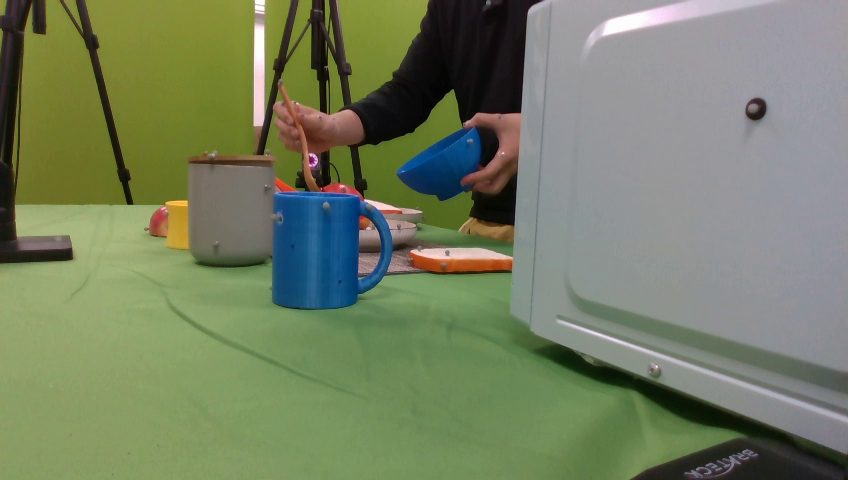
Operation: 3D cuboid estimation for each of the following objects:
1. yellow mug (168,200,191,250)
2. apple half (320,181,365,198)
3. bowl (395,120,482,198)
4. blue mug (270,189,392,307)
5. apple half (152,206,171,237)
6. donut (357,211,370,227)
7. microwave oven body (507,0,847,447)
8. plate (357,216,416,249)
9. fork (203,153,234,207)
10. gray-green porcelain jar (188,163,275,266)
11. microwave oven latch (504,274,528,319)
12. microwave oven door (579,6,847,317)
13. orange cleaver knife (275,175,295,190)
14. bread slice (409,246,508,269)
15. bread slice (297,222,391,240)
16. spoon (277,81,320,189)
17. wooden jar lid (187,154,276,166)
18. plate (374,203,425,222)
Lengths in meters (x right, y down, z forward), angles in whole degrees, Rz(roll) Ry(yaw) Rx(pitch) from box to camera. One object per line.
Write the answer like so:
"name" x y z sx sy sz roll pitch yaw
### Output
"yellow mug" -0.319 -0.023 0.904 0.130 0.064 0.100 8 10 36
"apple half" -0.130 -0.077 0.953 0.081 0.033 0.081 5 13 -1
"bowl" 0.037 -0.120 0.972 0.151 0.077 0.151 -31 13 8
"blue mug" -0.090 0.005 0.588 0.117 0.106 0.082 1 7 -11
"apple half" -0.415 -0.034 1.017 0.081 0.053 0.074 1 10 -9
"donut" -0.132 -0.042 0.959 0.099 0.048 0.099 2 7 0
"microwave oven body" 0.331 -0.042 0.425 0.444 0.260 0.324 -2 8 -31
"plate" -0.116 -0.014 0.967 0.208 0.039 0.207 2 7 0
"fork" -0.480 -0.134 1.411 0.028 0.018 0.207 1 -35 0
"gray-green porcelain jar" -0.246 -0.034 0.779 0.106 0.126 0.106 1 7 0
"microwave oven latch" 0.100 0.041 0.471 0.079 0.029 0.030 -1 7 -28
"microwave oven door" 0.294 -0.067 0.570 0.358 0.243 0.039 -3 9 -31
"orange cleaver knife" -0.283 -0.087 1.343 0.212 0.077 0.012 24 -16 -41
"bread slice" 0.048 0.022 0.816 0.132 0.019 0.104 0 7 -24
"bread slice" -0.121 -0.016 0.968 0.106 0.018 0.135 9 8 40
"spoon" -0.187 -0.151 0.918 0.022 0.193 0.041 -17 -5 -10
"wooden jar lid" -0.244 -0.097 0.771 0.108 0.020 0.108 -1 7 0
"plate" -0.102 -0.053 1.299 0.209 0.038 0.209 2 8 0
